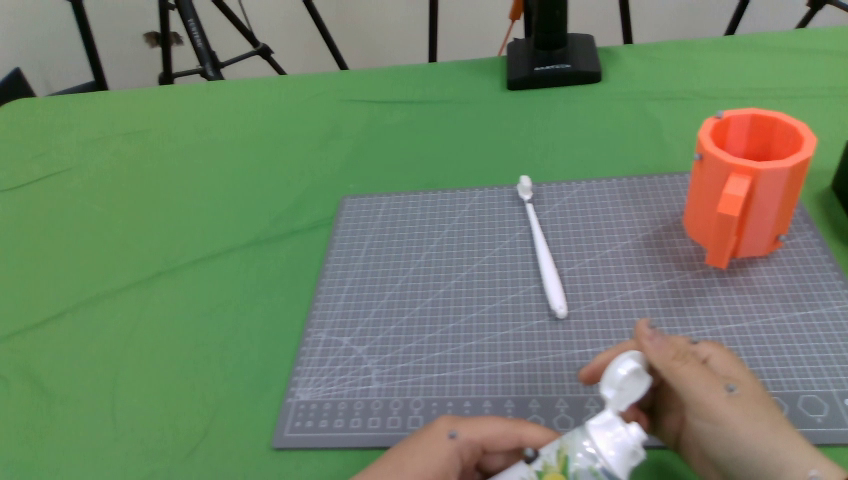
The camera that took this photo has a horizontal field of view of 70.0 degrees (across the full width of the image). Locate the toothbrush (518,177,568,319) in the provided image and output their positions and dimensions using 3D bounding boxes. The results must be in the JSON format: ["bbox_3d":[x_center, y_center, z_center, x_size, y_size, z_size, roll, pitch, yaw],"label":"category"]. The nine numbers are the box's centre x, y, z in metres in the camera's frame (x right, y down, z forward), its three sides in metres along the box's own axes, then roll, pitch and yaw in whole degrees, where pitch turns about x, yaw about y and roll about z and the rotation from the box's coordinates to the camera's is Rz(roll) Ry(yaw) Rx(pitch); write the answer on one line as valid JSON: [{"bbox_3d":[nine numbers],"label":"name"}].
[{"bbox_3d":[0.109,0.001,0.557,0.014,0.017,0.180,4,43,-8],"label":"toothbrush"}]

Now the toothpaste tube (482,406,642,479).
[{"bbox_3d":[0.050,0.147,0.340,0.165,0.035,0.054,-39,58,11],"label":"toothpaste tube"}]

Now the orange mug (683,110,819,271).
[{"bbox_3d":[0.264,-0.037,0.505,0.083,0.102,0.126,18,45,29],"label":"orange mug"}]

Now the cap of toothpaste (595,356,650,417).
[{"bbox_3d":[0.113,0.082,0.337,0.037,0.037,0.011,-25,31,-16],"label":"cap of toothpaste"}]
